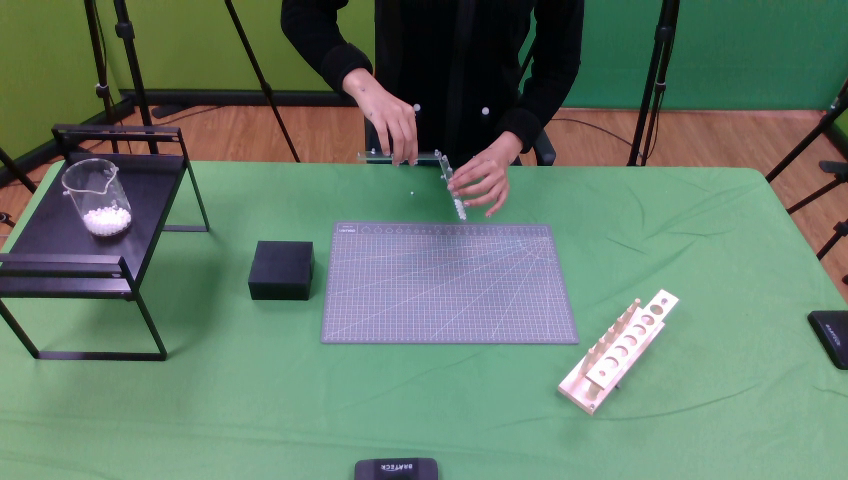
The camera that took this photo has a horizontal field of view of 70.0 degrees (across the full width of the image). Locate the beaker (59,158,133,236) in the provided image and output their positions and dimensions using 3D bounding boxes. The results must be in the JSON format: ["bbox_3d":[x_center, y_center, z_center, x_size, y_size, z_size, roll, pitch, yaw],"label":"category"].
[{"bbox_3d":[-0.488,-0.060,0.915,0.074,0.101,0.083,-35,58,-31],"label":"beaker"}]

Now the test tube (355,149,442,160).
[{"bbox_3d":[-0.043,-0.146,1.037,0.151,0.017,0.017,-3,47,-10],"label":"test tube"}]

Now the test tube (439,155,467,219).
[{"bbox_3d":[0.055,-0.093,1.103,0.017,0.151,0.017,-12,43,12],"label":"test tube"}]

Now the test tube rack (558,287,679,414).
[{"bbox_3d":[0.326,0.170,1.009,0.066,0.085,0.242,36,54,26],"label":"test tube rack"}]
